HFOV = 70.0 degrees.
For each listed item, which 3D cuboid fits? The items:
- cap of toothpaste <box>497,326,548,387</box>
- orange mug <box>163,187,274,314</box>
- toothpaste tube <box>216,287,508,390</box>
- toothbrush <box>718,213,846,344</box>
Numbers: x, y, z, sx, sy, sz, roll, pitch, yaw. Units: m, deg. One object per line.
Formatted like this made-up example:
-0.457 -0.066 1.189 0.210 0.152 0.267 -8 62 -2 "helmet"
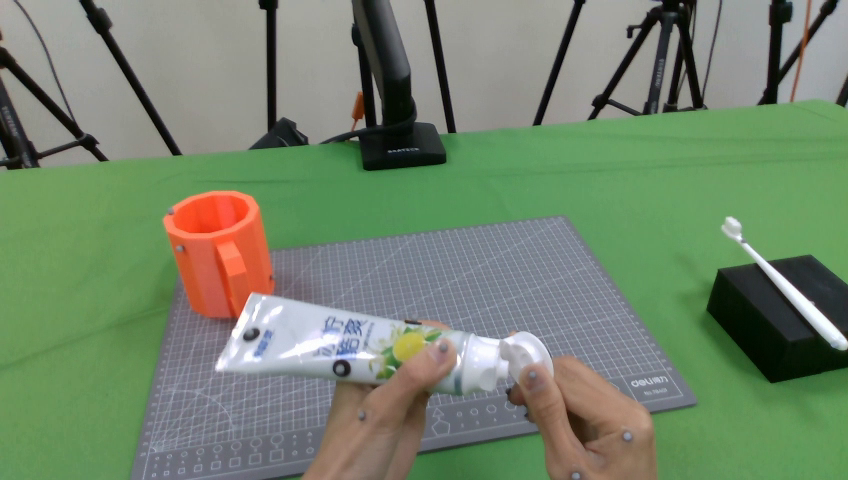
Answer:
0.054 0.066 0.339 0.011 0.037 0.037 -16 37 -35 "cap of toothpaste"
-0.192 0.017 0.588 0.083 0.101 0.125 -19 35 -23 "orange mug"
-0.034 0.058 0.349 0.165 0.035 0.054 7 46 10 "toothpaste tube"
0.319 0.028 0.549 0.014 0.017 0.180 -2 35 -8 "toothbrush"
